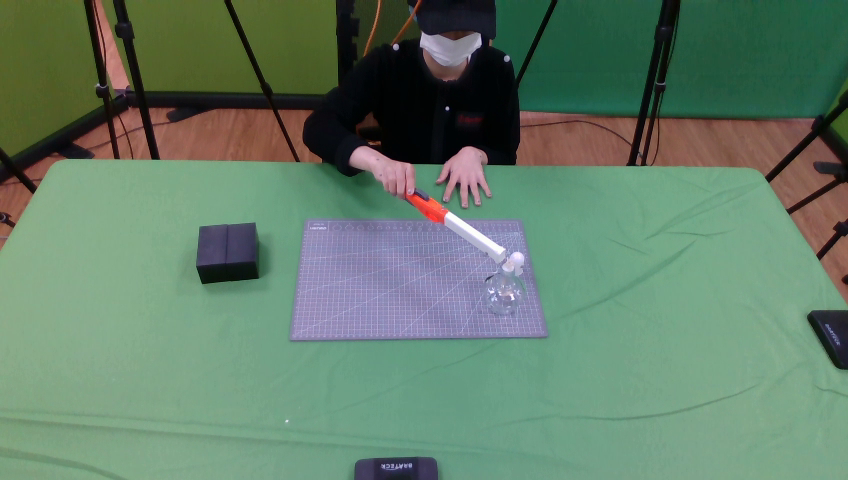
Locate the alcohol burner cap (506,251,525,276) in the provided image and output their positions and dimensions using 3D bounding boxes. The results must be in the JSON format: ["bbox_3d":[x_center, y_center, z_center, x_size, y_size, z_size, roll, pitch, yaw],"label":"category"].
[{"bbox_3d":[0.175,0.043,1.151,0.034,0.048,0.033,1,46,-1],"label":"alcohol burner cap"}]

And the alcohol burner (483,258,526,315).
[{"bbox_3d":[0.143,0.076,1.067,0.078,0.120,0.077,1,45,-1],"label":"alcohol burner"}]

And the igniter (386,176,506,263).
[{"bbox_3d":[0.032,-0.043,1.084,0.275,0.057,0.025,35,60,26],"label":"igniter"}]
